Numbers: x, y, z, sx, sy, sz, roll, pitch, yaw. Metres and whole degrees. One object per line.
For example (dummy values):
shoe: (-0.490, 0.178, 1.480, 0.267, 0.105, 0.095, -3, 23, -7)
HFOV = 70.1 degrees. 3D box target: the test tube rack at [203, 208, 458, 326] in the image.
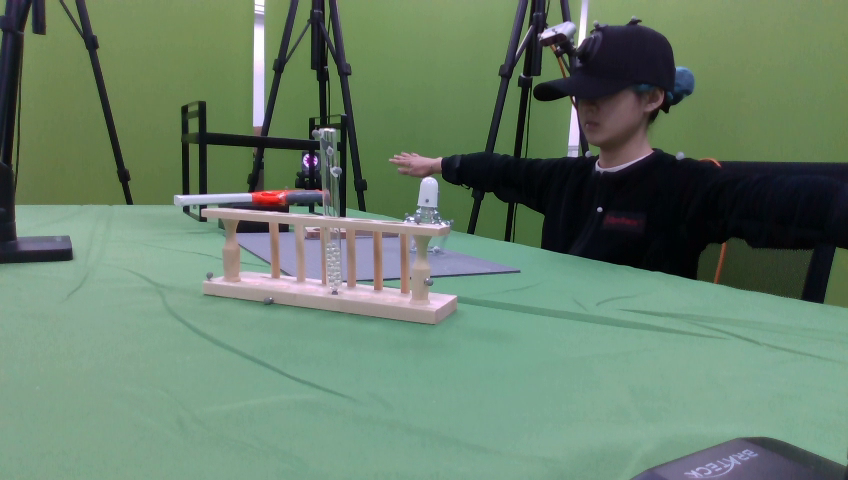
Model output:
test tube rack: (-0.090, 0.019, 0.579, 0.241, 0.085, 0.067, 5, 7, 19)

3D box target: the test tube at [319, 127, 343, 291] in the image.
test tube: (-0.084, -0.027, 0.552, 0.017, 0.150, 0.017, -1, 8, 0)

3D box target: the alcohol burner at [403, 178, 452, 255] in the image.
alcohol burner: (0.005, -0.036, 0.923, 0.078, 0.119, 0.078, 5, 7, 0)

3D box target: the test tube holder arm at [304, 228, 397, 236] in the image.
test tube holder arm: (-0.126, -0.014, 1.068, 0.179, 0.015, 0.013, -2, 45, -33)

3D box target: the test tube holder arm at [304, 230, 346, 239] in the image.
test tube holder arm: (-0.162, -0.010, 1.040, 0.088, 0.015, 0.010, 0, 45, -32)

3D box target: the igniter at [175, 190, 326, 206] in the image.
igniter: (-0.315, -0.079, 1.128, 0.278, 0.025, 0.057, -5, 13, -34)

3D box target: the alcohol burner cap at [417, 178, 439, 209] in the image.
alcohol burner cap: (0.008, -0.071, 0.917, 0.034, 0.048, 0.034, 5, 6, 0)
